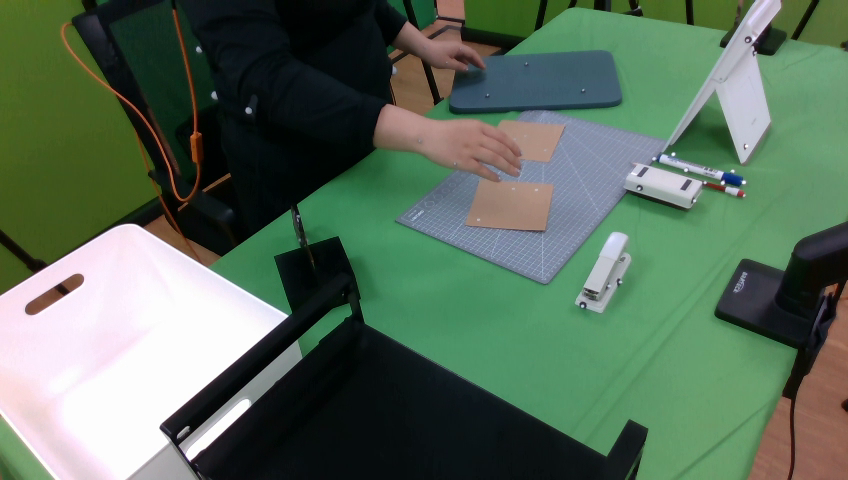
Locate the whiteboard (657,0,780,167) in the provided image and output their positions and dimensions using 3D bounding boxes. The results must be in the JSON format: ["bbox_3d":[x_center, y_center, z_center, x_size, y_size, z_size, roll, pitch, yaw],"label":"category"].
[{"bbox_3d":[0.571,-0.272,1.038,0.143,0.306,0.218,36,54,17],"label":"whiteboard"}]

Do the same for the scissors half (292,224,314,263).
[{"bbox_3d":[-0.188,0.007,0.954,0.013,0.040,0.174,-20,21,-13],"label":"scissors half"}]

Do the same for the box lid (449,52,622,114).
[{"bbox_3d":[0.249,-0.358,1.371,0.371,0.015,0.262,0,40,9],"label":"box lid"}]

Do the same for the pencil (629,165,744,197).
[{"bbox_3d":[0.447,-0.103,1.038,0.192,0.012,0.012,21,48,29],"label":"pencil"}]

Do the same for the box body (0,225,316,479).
[{"bbox_3d":[-0.339,0.162,0.728,0.361,0.161,0.255,23,48,31],"label":"box body"}]

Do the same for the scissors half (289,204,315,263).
[{"bbox_3d":[-0.190,-0.011,0.944,0.013,0.040,0.173,-15,37,-16],"label":"scissors half"}]

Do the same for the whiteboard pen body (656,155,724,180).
[{"bbox_3d":[0.475,-0.123,1.052,0.139,0.017,0.017,24,49,32],"label":"whiteboard pen body"}]

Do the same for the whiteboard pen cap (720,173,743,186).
[{"bbox_3d":[0.519,-0.103,1.020,0.033,0.018,0.018,23,49,30],"label":"whiteboard pen cap"}]

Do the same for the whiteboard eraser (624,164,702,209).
[{"bbox_3d":[0.396,-0.087,1.003,0.112,0.042,0.056,22,47,31],"label":"whiteboard eraser"}]

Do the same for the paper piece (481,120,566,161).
[{"bbox_3d":[0.197,-0.199,1.188,0.135,0.004,0.135,10,44,21],"label":"paper piece"}]

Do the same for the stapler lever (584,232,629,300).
[{"bbox_3d":[0.260,0.034,0.858,0.026,0.040,0.118,16,46,30],"label":"stapler lever"}]

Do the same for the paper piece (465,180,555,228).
[{"bbox_3d":[0.149,-0.062,1.035,0.137,0.009,0.136,4,37,17],"label":"paper piece"}]

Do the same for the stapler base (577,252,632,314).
[{"bbox_3d":[0.264,0.051,0.875,0.041,0.024,0.131,16,47,30],"label":"stapler base"}]
